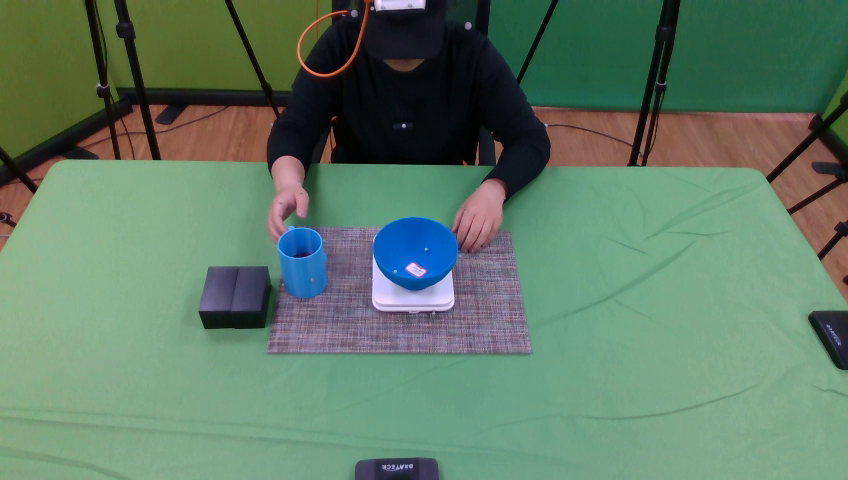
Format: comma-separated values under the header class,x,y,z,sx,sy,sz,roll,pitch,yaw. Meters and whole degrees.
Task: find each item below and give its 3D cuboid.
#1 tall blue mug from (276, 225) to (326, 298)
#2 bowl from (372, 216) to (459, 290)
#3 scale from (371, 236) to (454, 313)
class,x,y,z,sx,sy,sz,roll,pitch,yaw
tall blue mug,-0.228,0.033,1.083,0.107,0.108,0.077,30,52,23
bowl,-0.016,0.036,1.075,0.151,0.077,0.150,2,46,-1
scale,-0.022,0.051,1.134,0.149,0.032,0.199,1,46,-4
